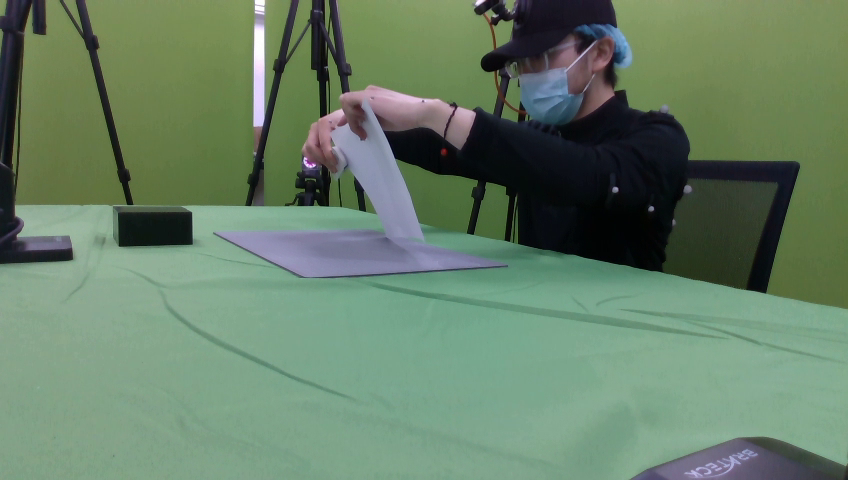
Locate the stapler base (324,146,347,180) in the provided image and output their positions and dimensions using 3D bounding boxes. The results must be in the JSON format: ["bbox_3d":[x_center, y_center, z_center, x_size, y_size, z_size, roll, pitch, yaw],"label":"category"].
[{"bbox_3d":[-0.156,-0.145,1.109,0.024,0.041,0.130,-31,3,-18],"label":"stapler base"}]

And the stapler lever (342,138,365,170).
[{"bbox_3d":[-0.138,-0.157,1.117,0.040,0.027,0.118,-31,3,-17],"label":"stapler lever"}]
